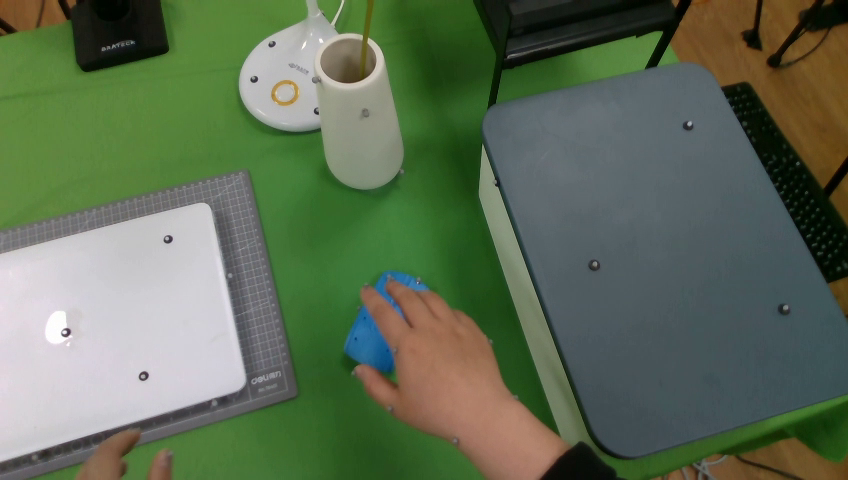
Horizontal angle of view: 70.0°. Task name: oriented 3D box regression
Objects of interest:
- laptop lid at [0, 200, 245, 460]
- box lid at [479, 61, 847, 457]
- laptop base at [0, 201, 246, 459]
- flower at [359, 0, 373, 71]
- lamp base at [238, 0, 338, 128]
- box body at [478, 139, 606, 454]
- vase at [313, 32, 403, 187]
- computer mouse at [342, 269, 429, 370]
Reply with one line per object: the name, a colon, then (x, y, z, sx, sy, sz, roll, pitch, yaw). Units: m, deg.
laptop lid: (-0.392, 0.099, 0.665, 0.357, 0.013, 0.240, -14, 71, -7)
box lid: (0.222, -0.008, 0.580, 0.263, 0.015, 0.368, -13, 68, -7)
laptop base: (-0.393, 0.101, 0.677, 0.355, 0.023, 0.234, -16, 72, -8)
flower: (-0.062, -0.186, 0.618, 0.038, 0.364, 0.043, -23, 59, -28)
lamp base: (-0.163, -0.260, 0.746, 0.160, 0.181, 0.178, 16, 65, 5)
box body: (0.222, 0.023, 0.648, 0.254, 0.161, 0.361, -14, 68, -7)
vase: (-0.076, -0.142, 0.689, 0.098, 0.201, 0.097, 0, 66, 1)
computer mouse: (-0.043, 0.086, 0.682, 0.062, 0.041, 0.116, 23, 64, 11)
